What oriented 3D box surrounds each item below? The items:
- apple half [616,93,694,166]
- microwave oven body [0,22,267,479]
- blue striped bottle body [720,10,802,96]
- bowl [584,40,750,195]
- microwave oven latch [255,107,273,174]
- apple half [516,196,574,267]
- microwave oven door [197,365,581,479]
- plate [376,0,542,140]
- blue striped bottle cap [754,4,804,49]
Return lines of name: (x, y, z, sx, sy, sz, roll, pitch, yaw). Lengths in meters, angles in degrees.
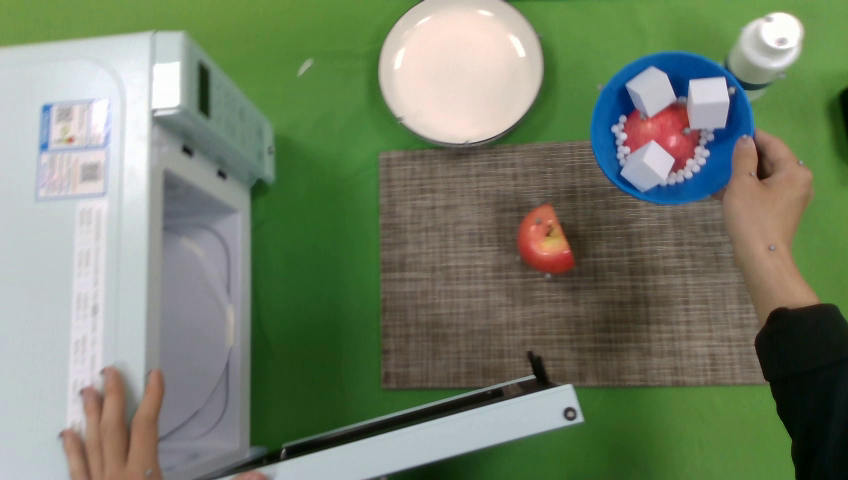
apple half: (0.236, -0.113, 0.607, 0.081, 0.033, 0.081, -1, 87, 10)
microwave oven body: (-0.355, 0.042, 0.650, 0.326, 0.261, 0.440, -4, 81, 4)
blue striped bottle body: (0.384, -0.217, 0.695, 0.063, 0.121, 0.063, -1, 79, 6)
bowl: (0.235, -0.113, 0.611, 0.151, 0.077, 0.151, -1, 85, 8)
microwave oven latch: (-0.206, -0.124, 0.762, 0.030, 0.029, 0.079, -4, 81, 5)
apple half: (0.135, -0.004, 0.705, 0.053, 0.075, 0.080, -22, 82, 6)
microwave oven door: (-0.038, 0.191, 0.589, 0.356, 0.245, 0.039, -17, 78, 3)
plate: (0.044, -0.223, 0.773, 0.207, 0.039, 0.207, -1, 81, 5)
blue striped bottle cap: (0.379, -0.227, 0.645, 0.044, 0.021, 0.044, -1, 83, 6)
